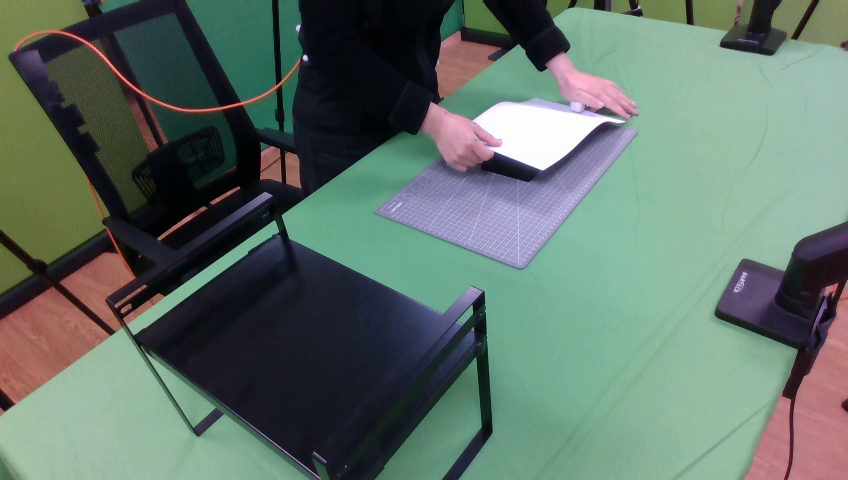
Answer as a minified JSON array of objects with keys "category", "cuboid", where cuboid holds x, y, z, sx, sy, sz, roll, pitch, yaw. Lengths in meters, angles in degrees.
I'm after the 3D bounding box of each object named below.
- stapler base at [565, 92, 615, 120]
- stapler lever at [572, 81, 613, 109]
[{"category":"stapler base","cuboid":[0.347,-0.286,1.256,0.131,0.024,0.041,-32,52,-31]},{"category":"stapler lever","cuboid":[0.346,-0.305,1.240,0.118,0.040,0.026,-33,52,-30]}]
